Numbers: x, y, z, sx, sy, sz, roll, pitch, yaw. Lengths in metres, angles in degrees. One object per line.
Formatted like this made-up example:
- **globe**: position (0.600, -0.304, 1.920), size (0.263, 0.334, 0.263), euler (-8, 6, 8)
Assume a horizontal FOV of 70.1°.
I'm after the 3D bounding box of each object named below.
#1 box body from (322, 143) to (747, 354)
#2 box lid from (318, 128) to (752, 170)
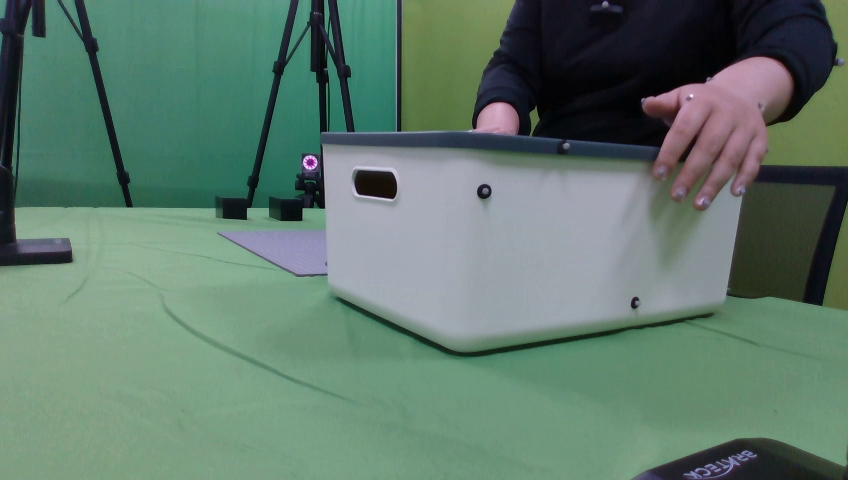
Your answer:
- **box body**: position (0.106, -0.011, 0.603), size (0.366, 0.160, 0.253), euler (-2, 8, -34)
- **box lid**: position (0.107, -0.085, 0.594), size (0.373, 0.015, 0.262), euler (-1, 8, -34)
